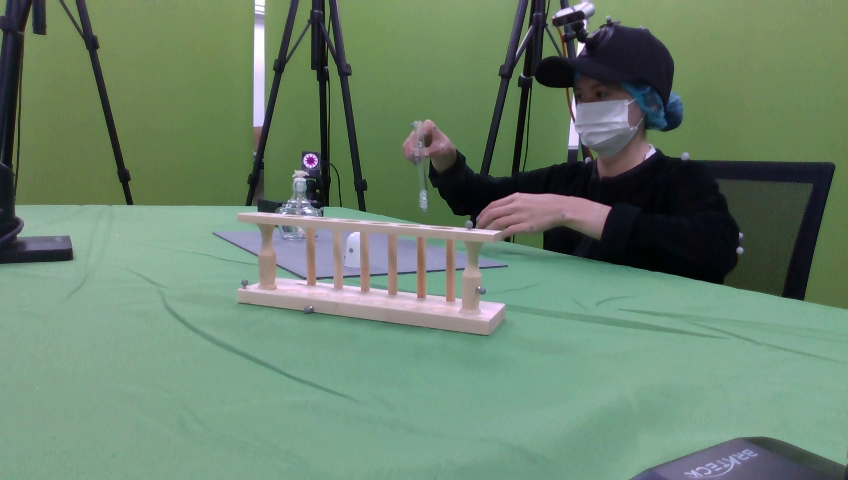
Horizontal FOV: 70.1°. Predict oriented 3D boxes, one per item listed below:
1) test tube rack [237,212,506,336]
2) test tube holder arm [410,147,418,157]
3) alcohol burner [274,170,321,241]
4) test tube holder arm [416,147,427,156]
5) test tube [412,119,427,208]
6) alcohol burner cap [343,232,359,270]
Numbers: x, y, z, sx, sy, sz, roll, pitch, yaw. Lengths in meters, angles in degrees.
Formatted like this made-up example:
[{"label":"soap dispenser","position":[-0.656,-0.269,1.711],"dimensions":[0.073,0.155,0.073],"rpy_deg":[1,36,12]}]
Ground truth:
[{"label":"test tube rack","position":[-0.049,0.024,0.552],"dimensions":[0.242,0.085,0.067],"rpy_deg":[5,8,18]},{"label":"test tube holder arm","position":[-0.018,-0.158,1.088],"dimensions":[0.013,0.015,0.178],"rpy_deg":[0,7,-4]},{"label":"alcohol burner","position":[-0.212,-0.058,1.015],"dimensions":[0.078,0.119,0.078],"rpy_deg":[4,5,0]},{"label":"test tube holder arm","position":[-0.007,-0.153,1.045],"dimensions":[0.010,0.015,0.087],"rpy_deg":[-1,7,-11]},{"label":"test tube","position":[-0.007,-0.129,1.023],"dimensions":[0.017,0.150,0.017],"rpy_deg":[-4,5,1]},{"label":"alcohol burner cap","position":[-0.087,0.013,0.776],"dimensions":[0.034,0.048,0.034],"rpy_deg":[3,7,0]}]
